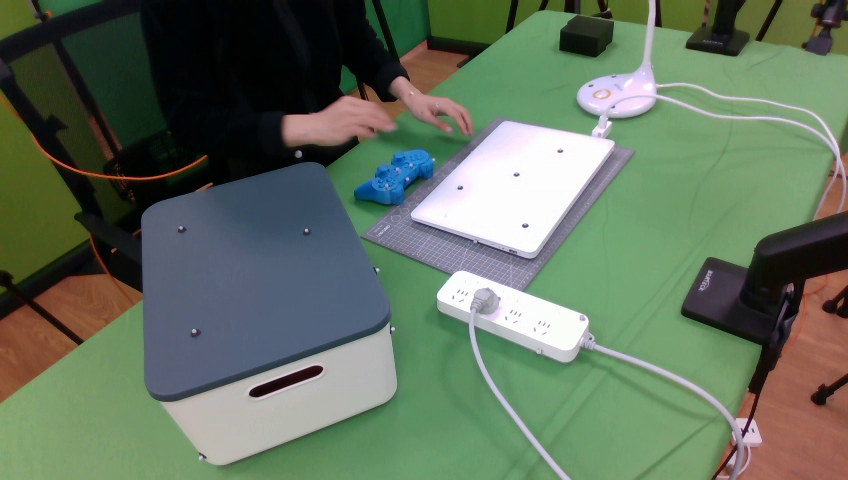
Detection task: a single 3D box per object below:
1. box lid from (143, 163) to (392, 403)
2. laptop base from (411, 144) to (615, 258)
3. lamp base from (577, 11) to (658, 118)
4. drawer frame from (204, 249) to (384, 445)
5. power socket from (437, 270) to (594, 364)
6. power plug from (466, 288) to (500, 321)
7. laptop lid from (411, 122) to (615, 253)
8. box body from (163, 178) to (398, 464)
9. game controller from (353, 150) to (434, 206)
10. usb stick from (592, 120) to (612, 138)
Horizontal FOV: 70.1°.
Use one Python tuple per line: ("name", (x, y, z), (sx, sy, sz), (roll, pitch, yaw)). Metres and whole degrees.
("box lid", (-0.212, 0.025, 0.753), (0.264, 0.015, 0.368), (-18, 41, -13))
("laptop base", (0.167, -0.102, 1.074), (0.234, 0.023, 0.355), (16, 45, 30))
("lamp base", (0.406, -0.363, 1.223), (0.180, 0.181, 0.159), (-20, 42, -18))
("drawer frame", (-0.174, 0.129, 0.789), (0.202, 0.083, 0.212), (-16, 45, -7))
("power socket", (0.118, 0.102, 0.830), (0.225, 0.033, 0.072), (20, 48, 28))
("power plug", (0.072, 0.093, 0.813), (0.035, 0.053, 0.073), (30, 54, 35))
("laptop lid", (0.164, -0.112, 1.068), (0.240, 0.013, 0.357), (19, 46, 31))
("box body", (-0.205, 0.080, 0.802), (0.255, 0.161, 0.361), (-18, 41, -13))
("game controller", (-0.051, -0.121, 1.105), (0.096, 0.052, 0.155), (23, 49, 28))
("usb stick", (0.335, -0.203, 1.149), (0.021, 0.027, 0.059), (25, 53, 26))
